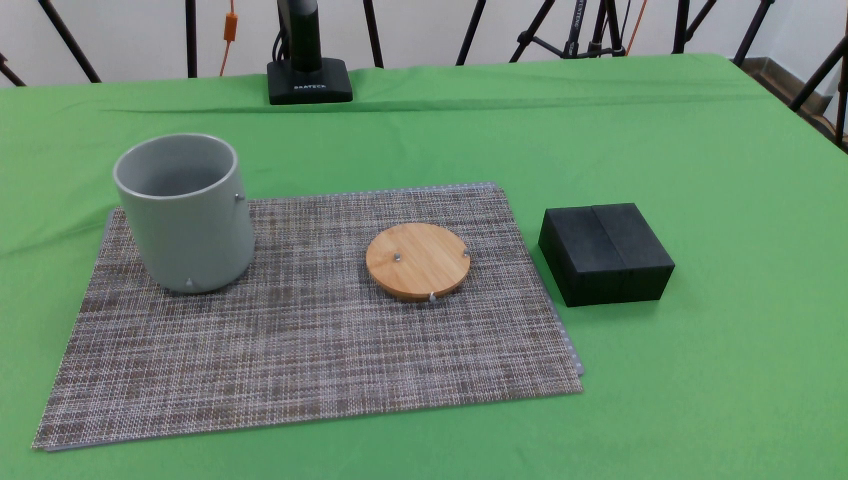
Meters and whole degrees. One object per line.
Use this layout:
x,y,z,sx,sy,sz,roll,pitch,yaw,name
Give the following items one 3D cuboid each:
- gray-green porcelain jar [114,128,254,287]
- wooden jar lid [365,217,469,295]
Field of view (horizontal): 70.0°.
-0.222,-0.026,0.580,0.106,0.127,0.105,2,42,-2,gray-green porcelain jar
-0.007,0.017,0.630,0.108,0.021,0.107,4,43,-3,wooden jar lid
